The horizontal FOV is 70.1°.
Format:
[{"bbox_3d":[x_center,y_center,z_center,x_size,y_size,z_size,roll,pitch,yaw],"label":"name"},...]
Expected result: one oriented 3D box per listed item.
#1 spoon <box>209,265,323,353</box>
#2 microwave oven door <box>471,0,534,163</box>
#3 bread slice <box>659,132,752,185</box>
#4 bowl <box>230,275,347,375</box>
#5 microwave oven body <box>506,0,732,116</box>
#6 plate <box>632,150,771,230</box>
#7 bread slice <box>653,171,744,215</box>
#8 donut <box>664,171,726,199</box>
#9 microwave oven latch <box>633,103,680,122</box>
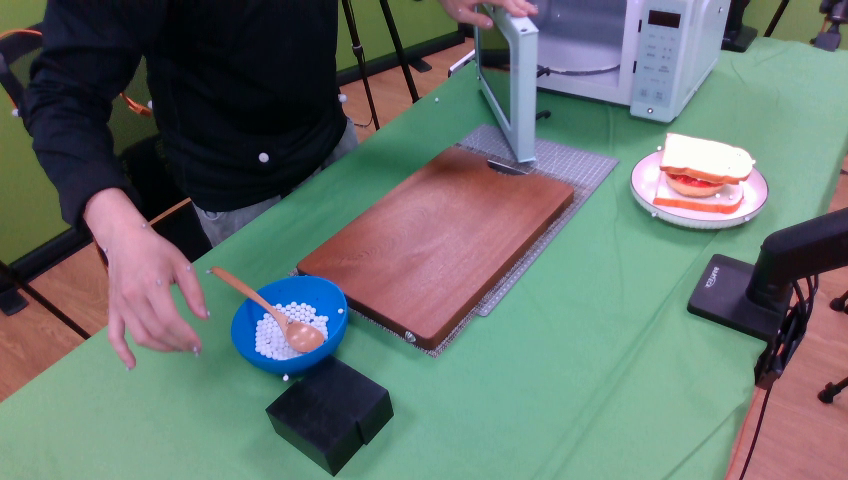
[{"bbox_3d":[-0.214,0.087,0.806,0.193,0.021,0.042,36,58,11],"label":"spoon"},{"bbox_3d":[0.145,-0.343,1.154,0.039,0.245,0.353,-10,40,-3],"label":"microwave oven door"},{"bbox_3d":[0.443,-0.126,0.952,0.134,0.018,0.107,14,43,14],"label":"bread slice"},{"bbox_3d":[-0.171,0.125,0.802,0.151,0.077,0.150,-4,40,4],"label":"bowl"},{"bbox_3d":[0.377,-0.463,1.267,0.438,0.261,0.327,21,49,30],"label":"microwave oven body"},{"bbox_3d":[0.447,-0.081,0.988,0.207,0.039,0.206,-4,40,4],"label":"plate"},{"bbox_3d":[0.452,-0.084,0.992,0.131,0.019,0.105,11,45,21],"label":"bread slice"},{"bbox_3d":[0.438,-0.105,0.972,0.099,0.048,0.098,-10,42,10],"label":"donut"},{"bbox_3d":[0.443,-0.249,1.157,0.078,0.029,0.030,21,49,30],"label":"microwave oven latch"}]
